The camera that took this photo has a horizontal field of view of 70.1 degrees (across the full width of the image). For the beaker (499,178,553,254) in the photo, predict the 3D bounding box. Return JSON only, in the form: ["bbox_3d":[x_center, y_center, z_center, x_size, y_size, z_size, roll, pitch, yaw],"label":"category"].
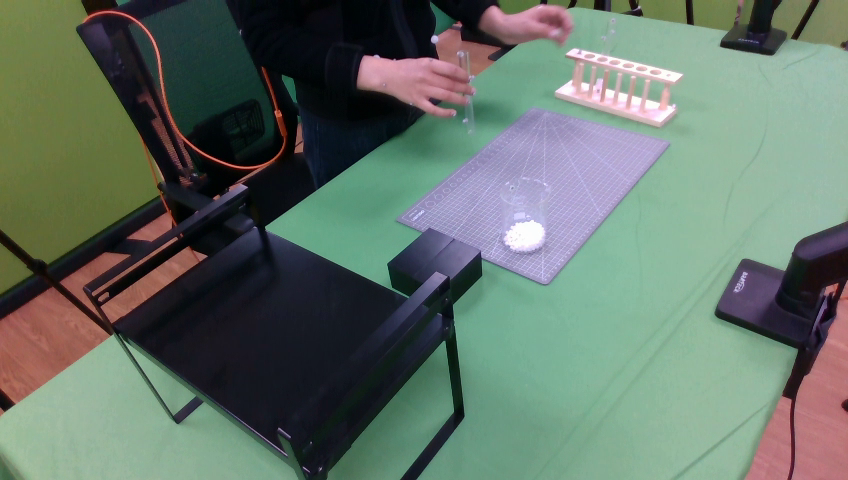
[{"bbox_3d":[0.158,-0.036,0.929,0.084,0.100,0.073,-16,41,-12],"label":"beaker"}]

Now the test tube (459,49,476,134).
[{"bbox_3d":[0.074,-0.247,1.020,0.017,0.151,0.017,-6,38,5],"label":"test tube"}]

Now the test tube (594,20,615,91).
[{"bbox_3d":[0.367,-0.373,1.234,0.017,0.151,0.017,-1,43,1],"label":"test tube"}]

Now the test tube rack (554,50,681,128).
[{"bbox_3d":[0.388,-0.312,1.235,0.240,0.085,0.067,28,52,34],"label":"test tube rack"}]
